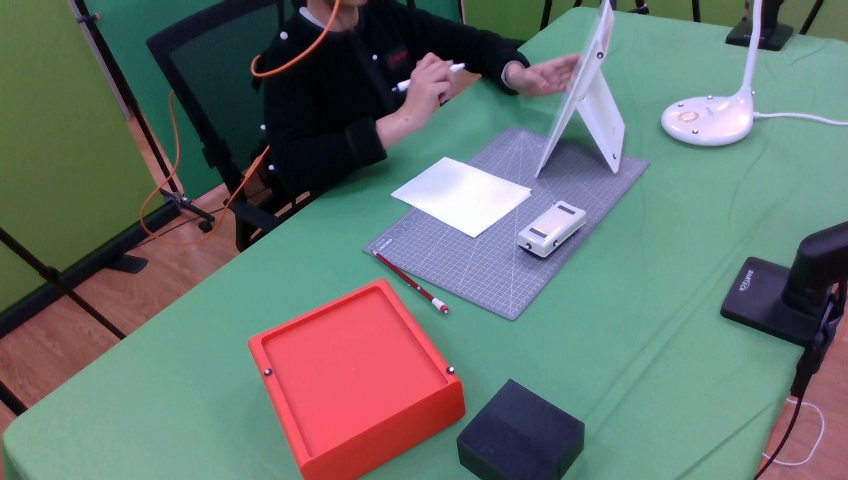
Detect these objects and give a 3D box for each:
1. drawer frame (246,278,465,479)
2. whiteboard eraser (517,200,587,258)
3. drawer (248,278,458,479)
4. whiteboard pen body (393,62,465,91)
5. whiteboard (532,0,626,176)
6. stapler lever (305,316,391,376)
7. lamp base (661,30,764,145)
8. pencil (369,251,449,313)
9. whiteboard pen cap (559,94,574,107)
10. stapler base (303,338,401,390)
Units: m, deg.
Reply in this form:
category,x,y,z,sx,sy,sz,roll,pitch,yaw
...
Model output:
category,x,y,z,sx,sy,sz,roll,pitch,yaw
drawer frame,-0.088,0.168,0.752,0.202,0.083,0.211,-24,43,-18
whiteboard eraser,0.201,-0.016,0.943,0.113,0.042,0.055,-37,46,-29
drawer,-0.092,0.168,0.756,0.195,0.073,0.210,-24,43,-18
whiteboard pen body,0.009,-0.307,1.126,0.141,0.017,0.017,-18,40,5
whiteboard,0.321,-0.258,1.050,0.144,0.306,0.217,22,45,5
stapler lever,-0.100,0.136,0.790,0.118,0.040,0.026,-23,44,-12
lamp base,0.535,-0.287,1.096,0.179,0.181,0.159,-10,40,-4
pencil,-0.028,0.060,0.924,0.012,0.012,0.192,-33,46,-25
whiteboard pen cap,0.300,-0.293,1.272,0.018,0.018,0.033,27,51,35
stapler base,-0.096,0.160,0.813,0.131,0.024,0.041,-17,42,-17
